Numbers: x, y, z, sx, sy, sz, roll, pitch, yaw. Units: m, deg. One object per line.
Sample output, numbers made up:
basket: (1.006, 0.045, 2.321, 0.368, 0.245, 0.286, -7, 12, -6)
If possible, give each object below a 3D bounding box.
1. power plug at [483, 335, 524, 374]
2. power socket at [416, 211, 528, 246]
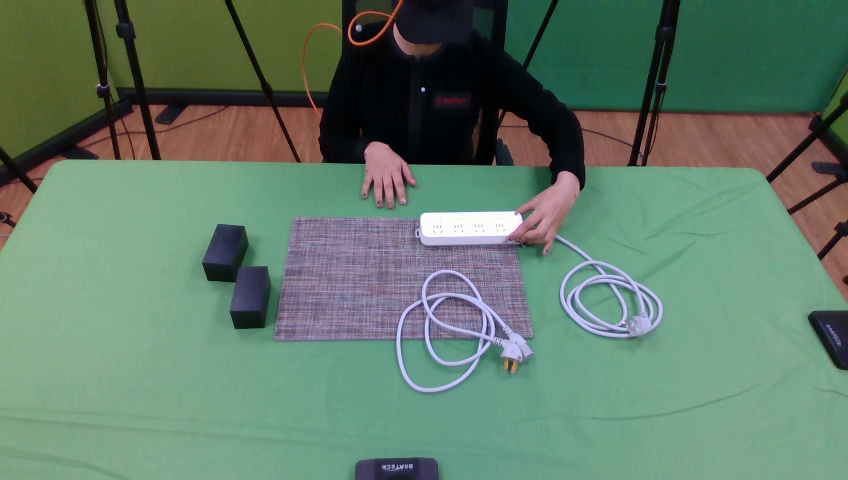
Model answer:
power plug: (0.132, 0.193, 1.018, 0.072, 0.035, 0.052, 7, 68, 25)
power socket: (0.097, -0.024, 1.214, 0.227, 0.033, 0.071, -1, 47, -5)
